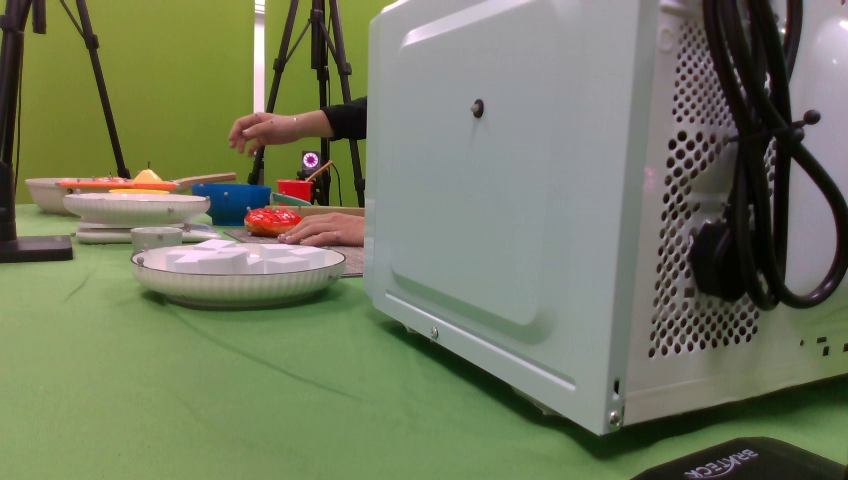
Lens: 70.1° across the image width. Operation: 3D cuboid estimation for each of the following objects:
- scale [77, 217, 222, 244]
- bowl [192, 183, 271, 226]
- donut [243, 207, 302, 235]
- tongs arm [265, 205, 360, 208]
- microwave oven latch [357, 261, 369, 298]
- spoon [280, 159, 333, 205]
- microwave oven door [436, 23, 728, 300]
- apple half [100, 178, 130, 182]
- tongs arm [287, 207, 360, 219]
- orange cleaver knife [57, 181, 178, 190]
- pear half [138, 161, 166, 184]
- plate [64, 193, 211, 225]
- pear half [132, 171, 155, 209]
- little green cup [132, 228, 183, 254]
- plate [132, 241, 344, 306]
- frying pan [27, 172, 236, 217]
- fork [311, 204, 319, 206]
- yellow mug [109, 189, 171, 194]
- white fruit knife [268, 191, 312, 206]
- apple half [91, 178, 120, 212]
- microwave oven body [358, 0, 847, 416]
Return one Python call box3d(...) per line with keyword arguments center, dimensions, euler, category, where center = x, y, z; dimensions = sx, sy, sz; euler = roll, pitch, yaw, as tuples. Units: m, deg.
box3d(center=(-0.434, -0.018, 0.963), dimensions=(0.202, 0.031, 0.148), euler=(-1, 8, -27), category="scale")
box3d(center=(-0.382, -0.070, 1.202), dimensions=(0.151, 0.077, 0.151), euler=(3, 7, 0), category="bowl")
box3d(center=(-0.261, -0.032, 1.043), dimensions=(0.099, 0.048, 0.099), euler=(4, 9, 0), category="donut")
box3d(center=(-0.211, -0.067, 1.440), dimensions=(0.389, 0.027, 0.028), euler=(1, -1, -17), category="tongs arm")
box3d(center=(-0.019, 0.033, 0.530), dimensions=(0.079, 0.029, 0.030), euler=(-1, 7, -26), category="microwave oven latch")
box3d(center=(-0.316, -0.159, 1.640), dimensions=(0.194, 0.022, 0.041), euler=(-50, 32, -20), category="spoon")
box3d(center=(0.180, -0.073, 0.621), dimensions=(0.358, 0.243, 0.039), euler=(-2, 9, -29), category="microwave oven door")
box3d(center=(-0.638, -0.093, 1.265), dimensions=(0.053, 0.074, 0.081), euler=(7, 5, 10), category="apple half")
box3d(center=(-0.174, -0.060, 1.363), dimensions=(0.387, 0.026, 0.050), euler=(-1, 3, -31), category="tongs arm")
box3d(center=(-0.600, -0.109, 1.189), dimensions=(0.212, 0.012, 0.077), euler=(-1, 11, -26), category="orange cleaver knife")
box3d(center=(-0.602, -0.120, 1.354), dimensions=(0.056, 0.110, 0.076), euler=(4, 11, 5), category="pear half")
box3d(center=(-0.446, -0.050, 0.952), dimensions=(0.209, 0.038, 0.209), euler=(2, 7, 0), category="plate")
box3d(center=(-0.636, -0.113, 1.362), dimensions=(0.031, 0.088, 0.070), euler=(3, 13, 1), category="pear half")
box3d(center=(-0.342, 0.006, 0.779), dimensions=(0.061, 0.038, 0.061), euler=(2, 8, 0), category="little green cup")
box3d(center=(-0.187, 0.033, 0.625), dimensions=(0.208, 0.039, 0.207), euler=(2, 7, 0), category="plate")
box3d(center=(-0.624, -0.118, 1.387), dimensions=(0.305, 0.102, 0.490), euler=(8, 17, 32), category="frying pan")
box3d(center=(-0.356, -0.105, 1.526), dimensions=(0.208, 0.018, 0.028), euler=(16, -6, -40), category="fork")
box3d(center=(-0.519, -0.055, 1.080), dimensions=(0.099, 0.064, 0.131), euler=(7, 10, 26), category="yellow mug")
box3d(center=(-0.364, -0.105, 1.464), dimensions=(0.208, 0.027, 0.016), euler=(15, 0, -34), category="white fruit knife")
box3d(center=(-0.677, -0.096, 1.271), dimensions=(0.033, 0.081, 0.081), euler=(7, 8, 10), category="apple half")
box3d(center=(0.211, -0.047, 0.474), dimensions=(0.444, 0.260, 0.324), euler=(-1, 7, -28), category="microwave oven body")
